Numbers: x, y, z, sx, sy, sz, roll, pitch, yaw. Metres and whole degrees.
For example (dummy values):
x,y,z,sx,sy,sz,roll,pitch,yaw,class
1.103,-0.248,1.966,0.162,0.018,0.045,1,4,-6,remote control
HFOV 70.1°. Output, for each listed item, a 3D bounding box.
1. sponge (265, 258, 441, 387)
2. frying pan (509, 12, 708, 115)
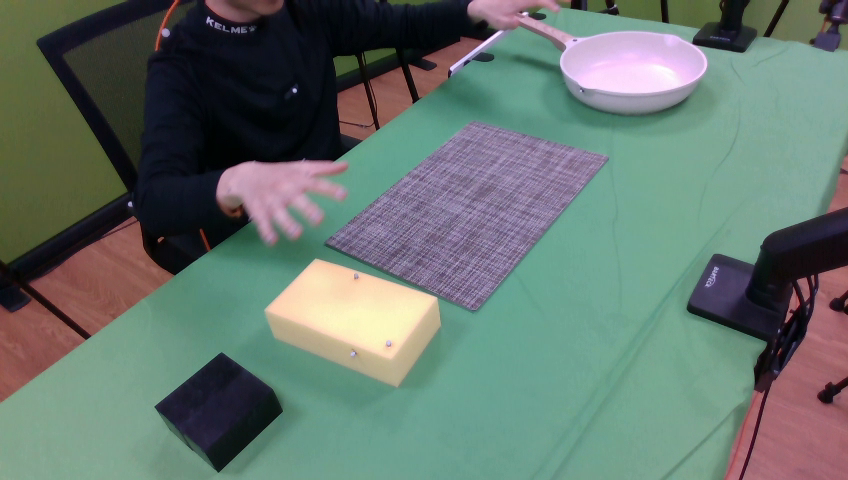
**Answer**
x,y,z,sx,sy,sz,roll,pitch,yaw,class
-0.096,0.107,0.830,0.205,0.061,0.118,15,46,25,sponge
0.369,-0.409,1.328,0.308,0.103,0.484,-31,54,-26,frying pan
